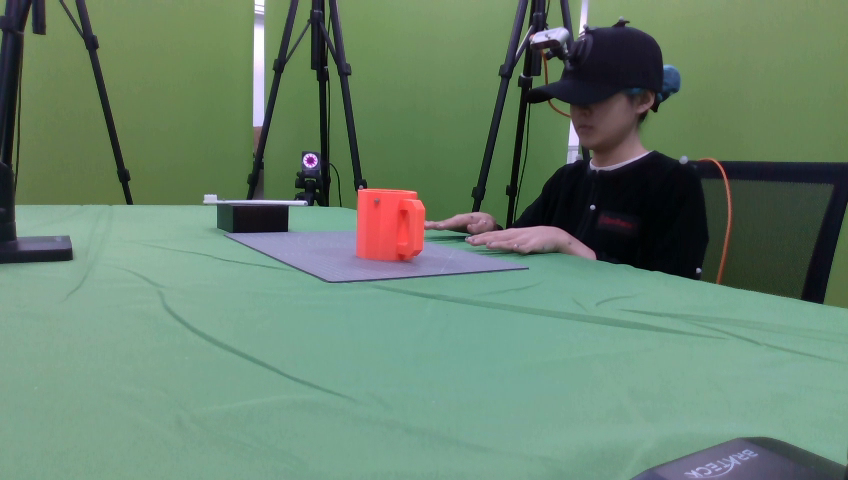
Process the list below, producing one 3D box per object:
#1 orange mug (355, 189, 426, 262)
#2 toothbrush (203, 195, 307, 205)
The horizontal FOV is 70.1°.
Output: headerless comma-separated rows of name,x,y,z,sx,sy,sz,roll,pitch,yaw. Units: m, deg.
orange mug,-0.043,-0.022,0.854,0.084,0.100,0.125,-3,5,-40
toothbrush,-0.306,-0.072,1.105,0.183,0.016,0.014,0,4,-22
